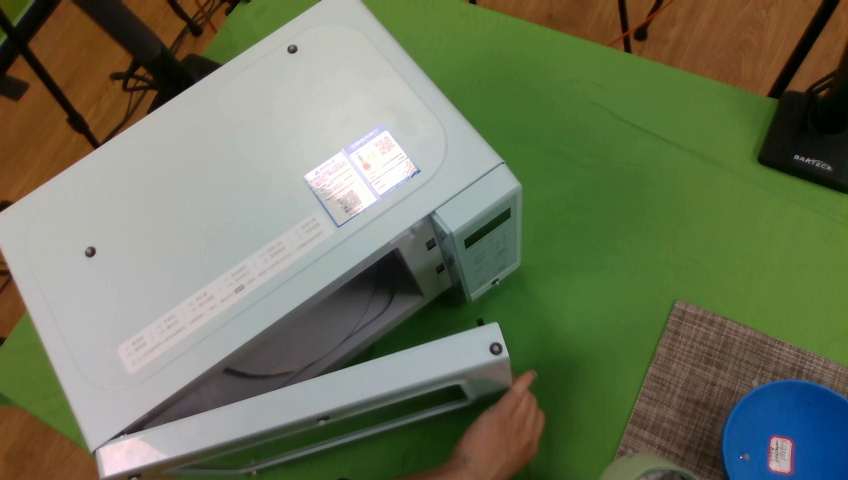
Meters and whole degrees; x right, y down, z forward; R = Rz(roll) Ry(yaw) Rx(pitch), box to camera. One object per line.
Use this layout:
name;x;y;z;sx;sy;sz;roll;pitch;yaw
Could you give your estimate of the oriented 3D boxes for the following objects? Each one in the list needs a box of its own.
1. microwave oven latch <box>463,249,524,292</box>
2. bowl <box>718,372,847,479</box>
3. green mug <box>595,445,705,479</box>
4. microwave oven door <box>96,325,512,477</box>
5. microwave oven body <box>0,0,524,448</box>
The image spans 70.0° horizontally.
microwave oven latch;0.084;0.029;0.739;0.079;0.030;0.030;-34;70;-4
bowl;0.374;0.216;0.623;0.151;0.077;0.150;-3;70;8
green mug;0.212;0.244;0.532;0.092;0.105;0.124;-35;74;-4
microwave oven door;-0.087;0.166;0.605;0.356;0.245;0.039;-18;69;2
microwave oven body;-0.158;-0.010;0.685;0.441;0.262;0.323;-36;70;-4
